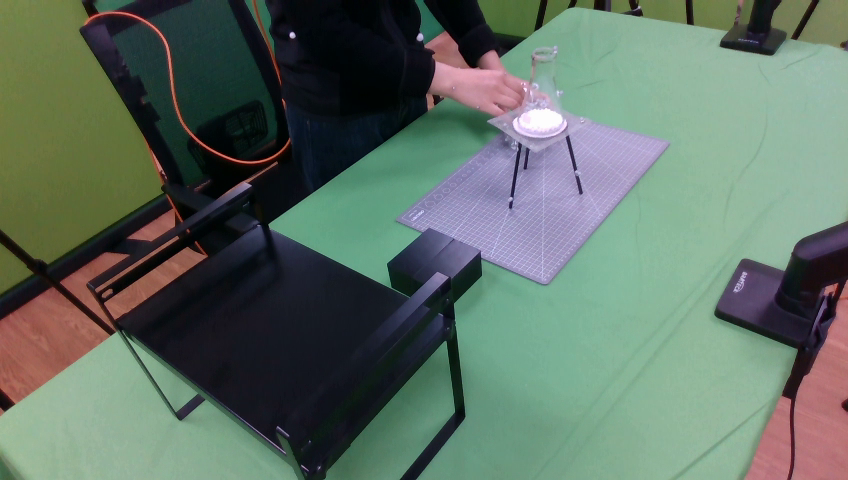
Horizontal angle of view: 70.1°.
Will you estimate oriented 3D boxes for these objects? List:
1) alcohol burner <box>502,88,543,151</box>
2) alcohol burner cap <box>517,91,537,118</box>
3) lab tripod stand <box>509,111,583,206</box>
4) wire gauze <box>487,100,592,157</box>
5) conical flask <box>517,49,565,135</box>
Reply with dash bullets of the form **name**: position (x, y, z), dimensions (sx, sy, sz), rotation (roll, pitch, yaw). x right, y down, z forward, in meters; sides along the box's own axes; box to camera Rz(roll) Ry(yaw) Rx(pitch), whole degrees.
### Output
- **alcohol burner**: position (0.186, -0.231, 1.146), dimensions (0.078, 0.119, 0.077), rotation (-6, 38, 5)
- **alcohol burner cap**: position (0.188, -0.254, 1.121), dimensions (0.034, 0.048, 0.033), rotation (-14, 48, 17)
- **lab tripod stand**: position (0.198, -0.139, 1.019), dimensions (0.148, 0.132, 0.147), rotation (-3, 39, 3)
- **wire gauze**: position (0.185, -0.187, 0.974), dimensions (0.122, 0.011, 0.124), rotation (-28, 47, -22)
- **conical flask**: position (0.183, -0.231, 0.936), dimensions (0.075, 0.122, 0.075), rotation (-4, 40, 4)
